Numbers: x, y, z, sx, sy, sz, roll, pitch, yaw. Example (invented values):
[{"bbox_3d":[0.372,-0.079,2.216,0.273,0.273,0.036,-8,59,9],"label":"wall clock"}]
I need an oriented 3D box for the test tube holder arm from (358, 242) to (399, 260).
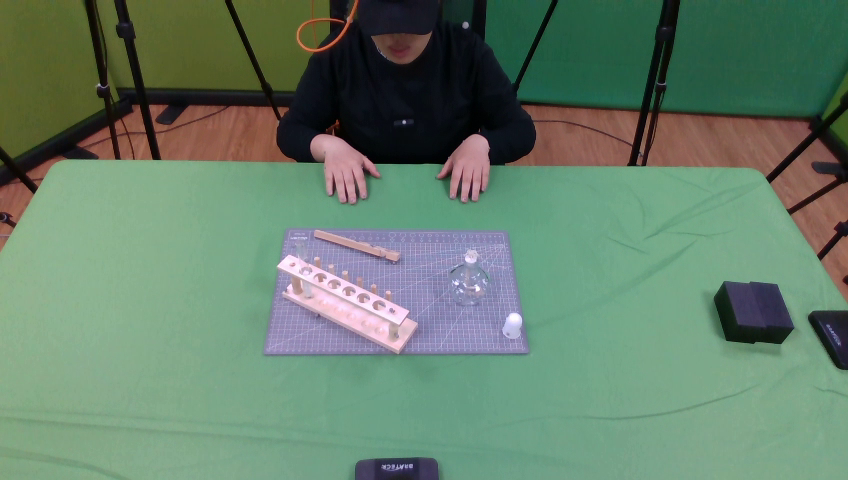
[{"bbox_3d":[-0.090,0.021,1.172,0.087,0.015,0.010,15,13,12],"label":"test tube holder arm"}]

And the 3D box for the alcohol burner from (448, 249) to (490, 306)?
[{"bbox_3d":[0.081,0.062,1.078,0.078,0.120,0.077,1,45,-1],"label":"alcohol burner"}]

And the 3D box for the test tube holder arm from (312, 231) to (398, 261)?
[{"bbox_3d":[-0.135,0.011,1.175,0.178,0.015,0.013,15,13,11],"label":"test tube holder arm"}]

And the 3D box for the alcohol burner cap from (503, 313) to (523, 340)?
[{"bbox_3d":[0.155,0.147,1.051,0.034,0.048,0.033,1,46,-1],"label":"alcohol burner cap"}]

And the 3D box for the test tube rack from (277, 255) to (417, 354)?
[{"bbox_3d":[-0.132,0.099,1.045,0.241,0.085,0.066,23,49,17],"label":"test tube rack"}]

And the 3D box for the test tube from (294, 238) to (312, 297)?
[{"bbox_3d":[-0.202,0.050,1.018,0.017,0.151,0.017,2,50,-2],"label":"test tube"}]
